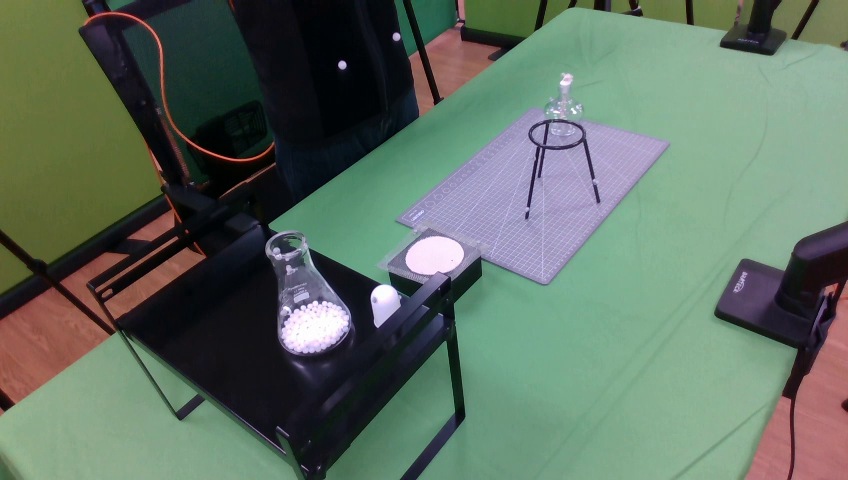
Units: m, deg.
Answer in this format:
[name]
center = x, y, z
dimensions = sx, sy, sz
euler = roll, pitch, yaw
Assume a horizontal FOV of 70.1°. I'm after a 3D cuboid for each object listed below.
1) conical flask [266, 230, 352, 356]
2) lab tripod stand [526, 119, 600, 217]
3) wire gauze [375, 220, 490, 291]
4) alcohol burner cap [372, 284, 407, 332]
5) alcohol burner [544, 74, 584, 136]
[conical flask]
center = -0.116, 0.047, 0.580
dimensions = 0.075, 0.122, 0.075
euler = -5, 40, 4
[lab tripod stand]
center = 0.220, -0.122, 0.995
dimensions = 0.148, 0.132, 0.147
euler = -3, 39, 3
[wire gauze]
center = 0.012, 0.022, 0.882
dimensions = 0.120, 0.011, 0.125
euler = 22, 47, 33
[alcohol burner cap]
center = -0.036, 0.066, 0.608
dimensions = 0.034, 0.048, 0.033
euler = -5, 38, 5
[alcohol burner]
center = 0.270, -0.263, 1.169
dimensions = 0.078, 0.119, 0.077
euler = -6, 40, 5
